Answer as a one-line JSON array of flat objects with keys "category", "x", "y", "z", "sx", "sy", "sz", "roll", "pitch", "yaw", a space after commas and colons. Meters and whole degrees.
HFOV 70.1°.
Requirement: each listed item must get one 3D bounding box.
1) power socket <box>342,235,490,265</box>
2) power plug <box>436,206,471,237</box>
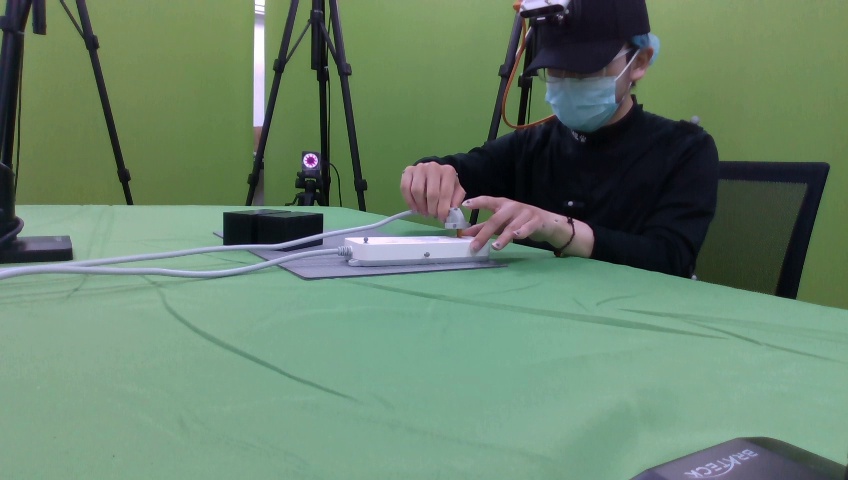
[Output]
[{"category": "power socket", "x": -0.008, "y": 0.011, "z": 0.848, "sx": 0.228, "sy": 0.032, "sz": 0.072, "roll": -2, "pitch": 8, "yaw": -30}, {"category": "power plug", "x": 0.045, "y": -0.025, "z": 0.908, "sx": 0.035, "sy": 0.052, "sz": 0.072, "roll": -3, "pitch": 5, "yaw": -16}]
